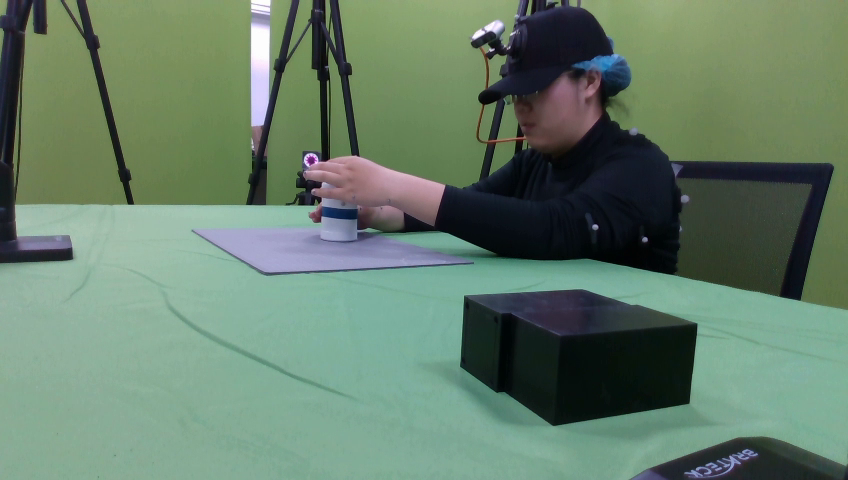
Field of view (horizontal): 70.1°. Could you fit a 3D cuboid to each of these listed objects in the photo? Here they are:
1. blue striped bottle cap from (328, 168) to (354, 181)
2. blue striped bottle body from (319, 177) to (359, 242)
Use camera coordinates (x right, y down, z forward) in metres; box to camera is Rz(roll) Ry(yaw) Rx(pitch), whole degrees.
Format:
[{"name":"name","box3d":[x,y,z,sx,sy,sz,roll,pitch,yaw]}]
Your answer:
[{"name":"blue striped bottle cap","box3d":[-0.139,-0.110,1.012,0.044,0.020,0.044,1,9,0]},{"name":"blue striped bottle body","box3d":[-0.143,-0.060,1.019,0.063,0.120,0.063,3,7,0]}]
